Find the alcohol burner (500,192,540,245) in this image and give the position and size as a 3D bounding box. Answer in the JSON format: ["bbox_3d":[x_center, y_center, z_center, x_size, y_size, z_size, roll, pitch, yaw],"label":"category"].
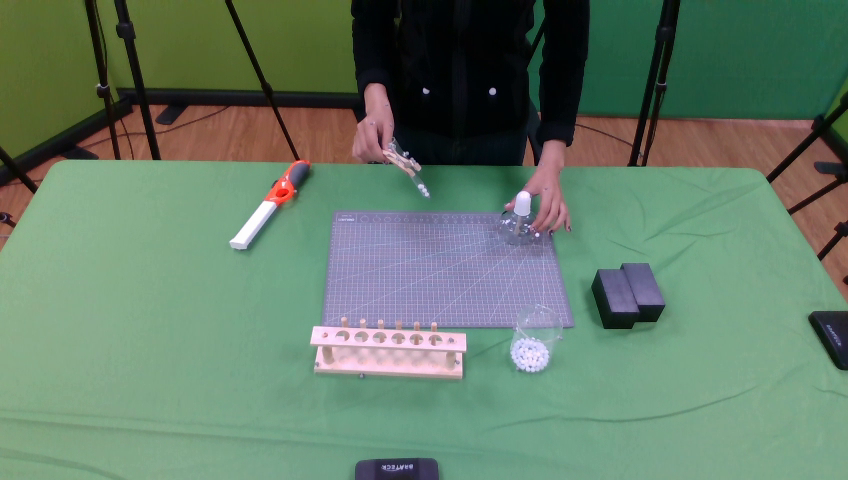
[{"bbox_3d":[0.190,-0.048,1.190,0.078,0.120,0.077,1,47,-1],"label":"alcohol burner"}]

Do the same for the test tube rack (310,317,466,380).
[{"bbox_3d":[-0.056,0.171,0.986,0.242,0.085,0.066,3,45,-1],"label":"test tube rack"}]

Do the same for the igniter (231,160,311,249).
[{"bbox_3d":[-0.311,-0.081,1.250,0.057,0.025,0.275,9,45,18],"label":"igniter"}]

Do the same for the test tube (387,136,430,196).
[{"bbox_3d":[-0.025,-0.126,1.060,0.017,0.151,0.017,-16,49,19],"label":"test tube"}]

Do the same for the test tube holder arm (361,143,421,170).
[{"bbox_3d":[-0.064,-0.154,1.108,0.013,0.015,0.177,-48,41,-12],"label":"test tube holder arm"}]

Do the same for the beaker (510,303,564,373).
[{"bbox_3d":[0.182,0.164,1.000,0.074,0.101,0.083,2,46,-1],"label":"beaker"}]

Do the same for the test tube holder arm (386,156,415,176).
[{"bbox_3d":[-0.042,-0.134,1.074,0.010,0.015,0.087,-43,41,-5],"label":"test tube holder arm"}]

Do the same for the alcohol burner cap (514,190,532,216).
[{"bbox_3d":[0.192,-0.074,1.166,0.034,0.048,0.033,0,42,0],"label":"alcohol burner cap"}]
